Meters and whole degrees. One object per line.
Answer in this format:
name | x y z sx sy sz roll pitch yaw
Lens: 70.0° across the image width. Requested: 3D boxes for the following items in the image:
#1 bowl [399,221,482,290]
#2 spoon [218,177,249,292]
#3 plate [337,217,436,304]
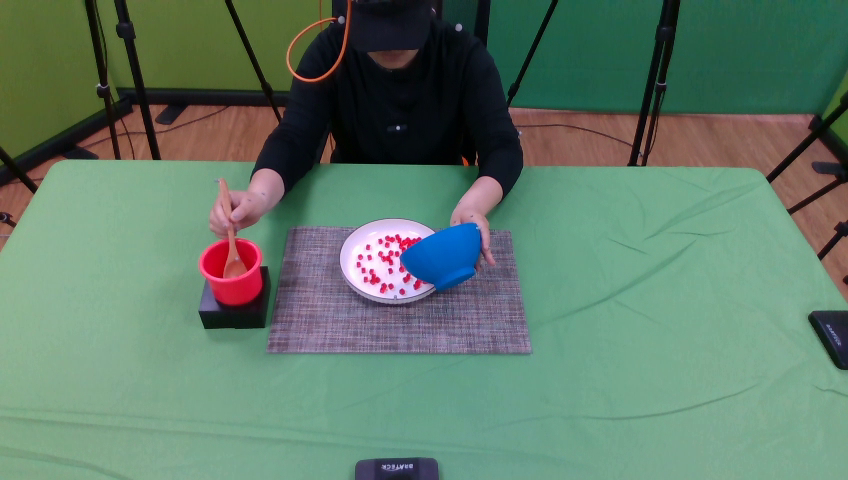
bowl | 0.040 0.036 1.041 0.151 0.151 0.076 -19 76 -20
spoon | -0.322 -0.009 1.011 0.042 0.193 0.021 -8 4 -27
plate | -0.058 0.042 1.137 0.208 0.039 0.206 2 46 -2
